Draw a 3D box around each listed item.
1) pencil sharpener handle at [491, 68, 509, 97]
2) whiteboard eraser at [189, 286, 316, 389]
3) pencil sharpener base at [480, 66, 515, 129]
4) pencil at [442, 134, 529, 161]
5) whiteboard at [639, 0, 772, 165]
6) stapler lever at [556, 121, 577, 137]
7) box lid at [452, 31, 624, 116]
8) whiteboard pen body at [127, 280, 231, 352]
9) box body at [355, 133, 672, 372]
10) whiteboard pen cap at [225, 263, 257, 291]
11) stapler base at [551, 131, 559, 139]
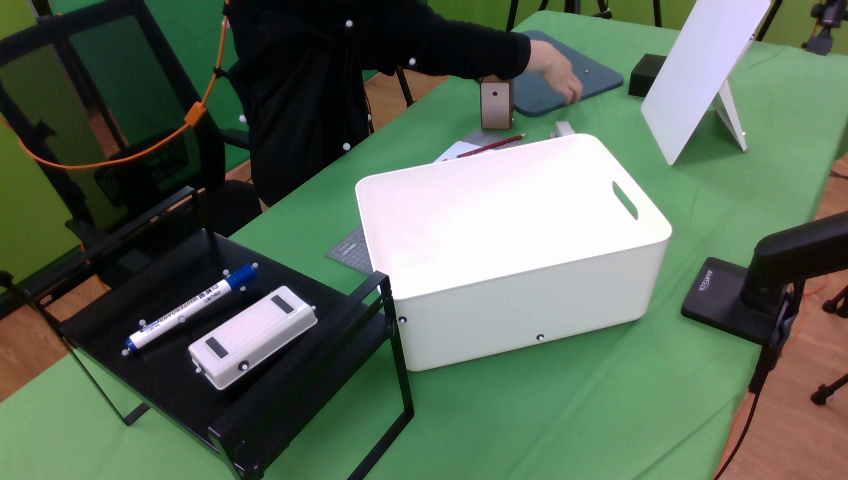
[{"bbox_3d":[0.156,-0.333,1.258,0.036,0.068,0.030,14,43,3],"label":"pencil sharpener handle"},{"bbox_3d":[-0.166,0.096,0.593,0.113,0.042,0.055,-36,47,-29],"label":"whiteboard eraser"},{"bbox_3d":[0.151,-0.290,1.228,0.061,0.107,0.076,3,41,13],"label":"pencil sharpener base"},{"bbox_3d":[0.123,-0.180,1.175,0.195,0.012,0.012,-20,42,-17],"label":"pencil"},{"bbox_3d":[0.543,-0.298,1.076,0.144,0.305,0.216,12,40,-7],"label":"whiteboard"},{"bbox_3d":[0.266,-0.198,1.128,0.027,0.040,0.117,0,38,3],"label":"stapler lever"},{"bbox_3d":[0.256,-0.401,1.419,0.264,0.015,0.368,-22,43,-17],"label":"box lid"},{"bbox_3d":[-0.248,0.072,0.645,0.141,0.017,0.017,-35,47,-23],"label":"whiteboard pen body"},{"bbox_3d":[0.108,0.013,0.834,0.365,0.161,0.252,-12,41,-6],"label":"box body"},{"bbox_3d":[-0.204,0.041,0.668,0.033,0.018,0.018,-36,48,-22],"label":"whiteboard pen cap"},{"bbox_3d":[0.268,-0.178,1.142,0.041,0.024,0.130,1,37,3],"label":"stapler base"}]
